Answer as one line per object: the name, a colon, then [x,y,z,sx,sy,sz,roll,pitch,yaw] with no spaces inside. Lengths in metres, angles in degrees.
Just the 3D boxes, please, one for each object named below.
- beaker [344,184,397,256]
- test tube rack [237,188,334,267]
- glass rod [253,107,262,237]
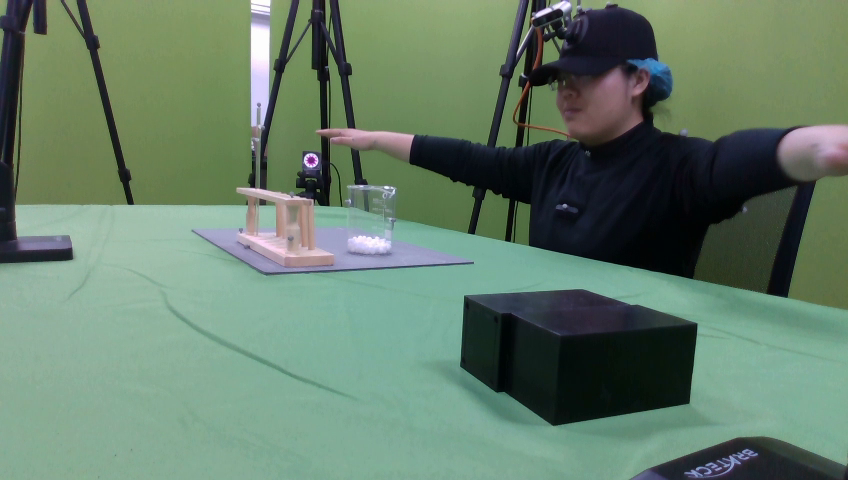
beaker: [-0.077,-0.030,0.886,0.083,0.100,0.074,9,10,39]
test tube rack: [-0.202,-0.024,0.855,0.067,0.085,0.241,-2,8,-30]
glass rod: [-0.251,-0.101,0.912,0.008,0.199,0.008,2,3,0]
